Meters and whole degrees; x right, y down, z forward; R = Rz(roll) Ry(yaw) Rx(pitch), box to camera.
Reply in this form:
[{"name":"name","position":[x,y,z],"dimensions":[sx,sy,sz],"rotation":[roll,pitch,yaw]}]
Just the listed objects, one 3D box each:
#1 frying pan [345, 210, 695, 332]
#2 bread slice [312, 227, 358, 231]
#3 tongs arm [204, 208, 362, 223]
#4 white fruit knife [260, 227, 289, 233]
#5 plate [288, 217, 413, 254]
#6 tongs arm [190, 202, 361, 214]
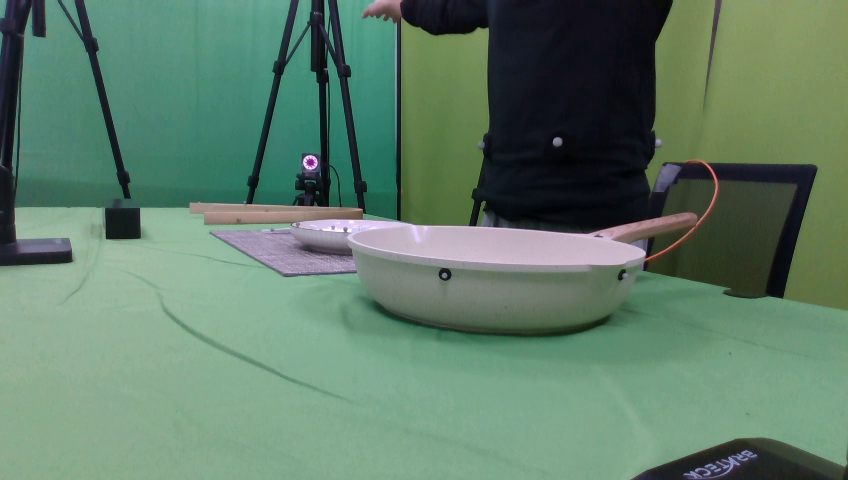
[{"name":"frying pan","position":[0.153,0.009,0.668],"dimensions":[0.490,0.102,0.305],"rotation":[-12,15,-32]},{"name":"bread slice","position":[-0.115,-0.006,0.950],"dimensions":[0.134,0.018,0.107],"rotation":[3,6,-7]},{"name":"tongs arm","position":[-0.292,-0.055,1.336],"dimensions":[0.390,0.028,0.028],"rotation":[-3,6,-40]},{"name":"white fruit knife","position":[-0.205,-0.022,1.136],"dimensions":[0.208,0.016,0.027],"rotation":[-4,-19,-33]},{"name":"plate","position":[-0.109,-0.007,0.956],"dimensions":[0.208,0.039,0.207],"rotation":[2,7,0]},{"name":"tongs arm","position":[-0.333,-0.068,1.403],"dimensions":[0.387,0.026,0.050],"rotation":[0,8,-27]}]
